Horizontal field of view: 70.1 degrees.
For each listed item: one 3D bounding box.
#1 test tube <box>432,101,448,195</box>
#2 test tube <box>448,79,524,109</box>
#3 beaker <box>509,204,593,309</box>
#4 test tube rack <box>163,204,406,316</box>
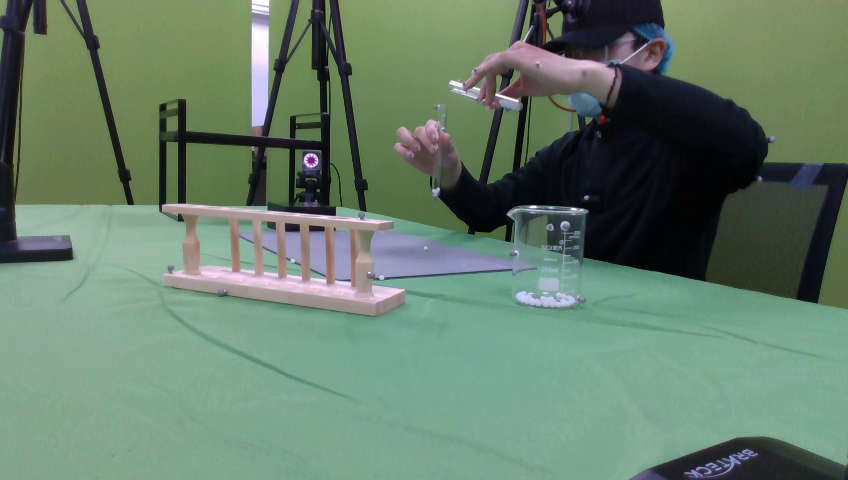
[{"bbox_3d":[0.025,-0.145,0.967,0.017,0.150,0.017,4,18,-1],"label":"test tube"},{"bbox_3d":[0.088,-0.213,0.882,0.017,0.017,0.149,-4,25,-42],"label":"test tube"},{"bbox_3d":[0.126,0.015,0.613,0.084,0.100,0.074,1,7,-5],"label":"beaker"},{"bbox_3d":[-0.141,0.013,0.601,0.241,0.085,0.067,5,8,21],"label":"test tube rack"}]
